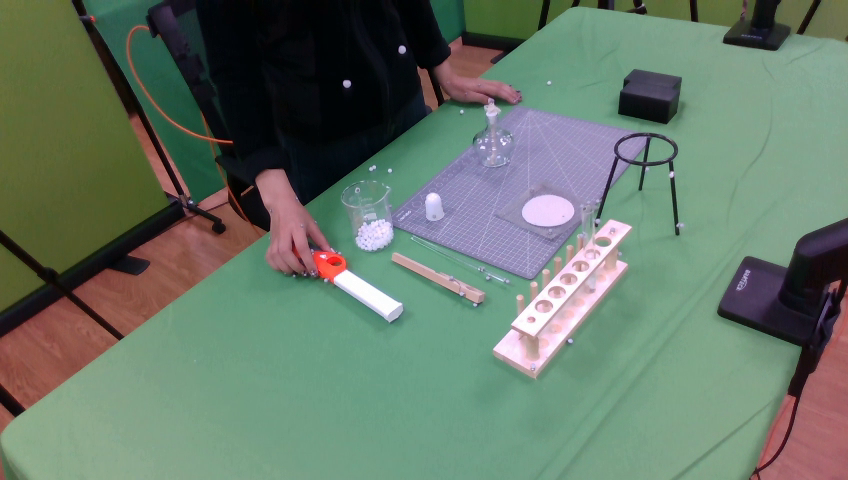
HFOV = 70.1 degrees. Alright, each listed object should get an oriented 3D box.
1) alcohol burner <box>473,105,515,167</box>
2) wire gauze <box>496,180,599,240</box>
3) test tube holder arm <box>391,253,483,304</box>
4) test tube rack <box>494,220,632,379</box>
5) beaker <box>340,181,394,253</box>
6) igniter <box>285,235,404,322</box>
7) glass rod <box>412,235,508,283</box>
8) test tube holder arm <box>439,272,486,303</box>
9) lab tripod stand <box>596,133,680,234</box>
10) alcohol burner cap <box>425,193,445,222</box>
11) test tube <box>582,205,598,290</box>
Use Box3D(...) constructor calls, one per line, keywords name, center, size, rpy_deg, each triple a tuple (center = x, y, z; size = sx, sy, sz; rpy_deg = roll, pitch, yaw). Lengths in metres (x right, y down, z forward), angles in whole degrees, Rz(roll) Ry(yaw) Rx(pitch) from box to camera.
Box3D(name="alcohol burner", center=(0.128, -0.196, 1.116), size=(0.078, 0.119, 0.077), rpy_deg=(-4, 40, 4))
Box3D(name="wire gauze", center=(0.206, -0.050, 1.012), size=(0.125, 0.011, 0.120), rpy_deg=(-34, 45, -26))
Box3D(name="test tube holder arm", center=(0.016, 0.055, 0.916), size=(0.177, 0.015, 0.013), rpy_deg=(24, 17, 34))
Box3D(name="test tube rack", center=(0.191, 0.068, 0.818), size=(0.066, 0.085, 0.243), rpy_deg=(25, 51, 35))
Box3D(name="beaker", center=(-0.087, -0.037, 0.985), size=(0.084, 0.101, 0.073), rpy_deg=(-18, 41, -11))
Box3D(name="igniter", center=(-0.135, 0.053, 0.943), size=(0.057, 0.025, 0.274), rpy_deg=(-34, 44, -32))
Box3D(name="glass rod", center=(0.051, 0.028, 0.951), size=(0.198, 0.008, 0.008), rpy_deg=(25, 51, 37))
Box3D(name="test tube holder arm", center=(0.053, 0.070, 0.896), size=(0.087, 0.015, 0.010), rpy_deg=(24, 17, 34))
Box3D(name="lab tripod stand", center=(0.338, -0.090, 0.940), size=(0.148, 0.132, 0.147), rpy_deg=(-7, 39, 6))
Box3D(name="alcohol burner cap", center=(0.017, -0.058, 1.029), size=(0.034, 0.048, 0.033), rpy_deg=(-6, 40, 5))
Box3D(name="test tube", center=(0.220, 0.014, 0.798), size=(0.017, 0.151, 0.017), rpy_deg=(-9, 43, 9))
